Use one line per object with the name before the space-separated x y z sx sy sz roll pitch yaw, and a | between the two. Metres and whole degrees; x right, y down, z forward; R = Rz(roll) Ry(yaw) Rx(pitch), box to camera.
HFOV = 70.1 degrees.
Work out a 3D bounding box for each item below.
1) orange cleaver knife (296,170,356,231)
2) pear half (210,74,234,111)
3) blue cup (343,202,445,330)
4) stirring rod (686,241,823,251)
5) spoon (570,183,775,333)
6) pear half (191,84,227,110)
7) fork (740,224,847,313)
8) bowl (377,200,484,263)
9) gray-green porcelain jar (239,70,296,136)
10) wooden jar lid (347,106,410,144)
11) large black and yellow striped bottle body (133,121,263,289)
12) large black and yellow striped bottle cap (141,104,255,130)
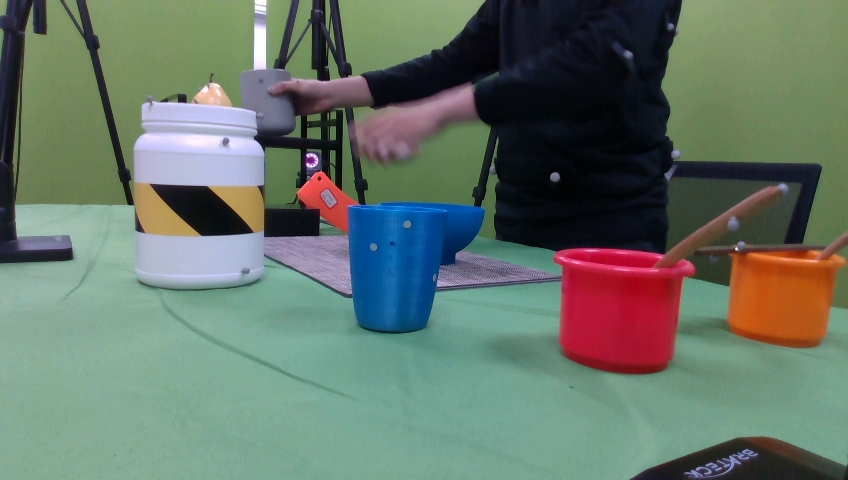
orange cleaver knife | -0.150 -0.058 1.170 0.212 0.077 0.012 33 -14 -32
pear half | -0.401 -0.261 1.162 0.076 0.109 0.056 7 7 2
blue cup | -0.027 0.021 0.510 0.093 0.100 0.092 3 5 0
stirring rod | 0.289 0.005 0.525 0.177 0.006 0.014 -1 5 -26
spoon | 0.160 0.020 0.413 0.042 0.021 0.193 0 -36 -23
pear half | -0.405 -0.248 1.128 0.070 0.088 0.031 6 7 1
fork | 0.323 0.013 0.485 0.028 0.018 0.207 8 -37 -6
bowl | 0.008 -0.012 0.842 0.151 0.077 0.151 3 7 0
gray-green porcelain jar | -0.326 -0.283 1.263 0.106 0.126 0.106 -4 7 1
wooden jar lid | -0.079 -0.198 1.045 0.108 0.020 0.108 8 38 -6
large black and yellow striped bottle body | -0.243 -0.048 0.659 0.131 0.184 0.130 2 7 0
large black and yellow striped bottle cap | -0.241 -0.131 0.650 0.115 0.019 0.115 3 8 0
